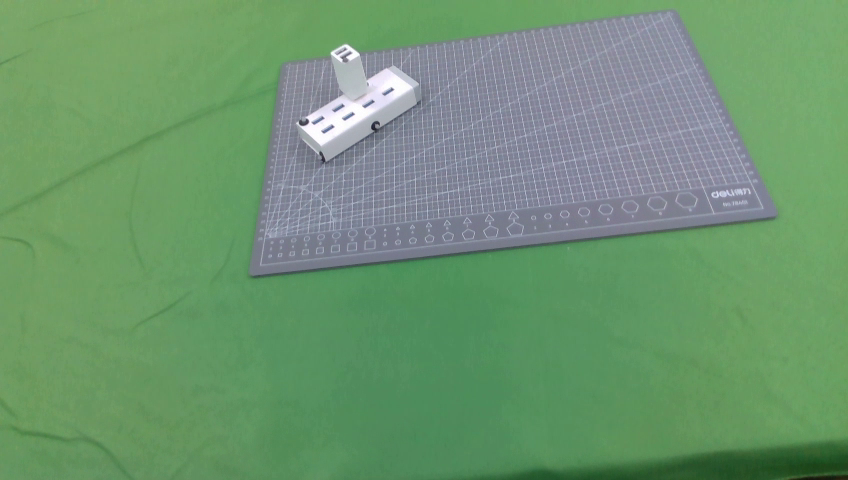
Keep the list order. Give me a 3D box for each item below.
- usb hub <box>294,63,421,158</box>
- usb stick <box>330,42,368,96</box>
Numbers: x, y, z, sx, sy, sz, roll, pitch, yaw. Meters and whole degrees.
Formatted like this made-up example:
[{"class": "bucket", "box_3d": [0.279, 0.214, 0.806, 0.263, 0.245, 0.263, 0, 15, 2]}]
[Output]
[{"class": "usb hub", "box_3d": [-0.067, -0.135, 0.620, 0.125, 0.025, 0.049, -36, 56, -17]}, {"class": "usb stick", "box_3d": [-0.074, -0.165, 0.607, 0.021, 0.060, 0.027, -38, 55, -18]}]
